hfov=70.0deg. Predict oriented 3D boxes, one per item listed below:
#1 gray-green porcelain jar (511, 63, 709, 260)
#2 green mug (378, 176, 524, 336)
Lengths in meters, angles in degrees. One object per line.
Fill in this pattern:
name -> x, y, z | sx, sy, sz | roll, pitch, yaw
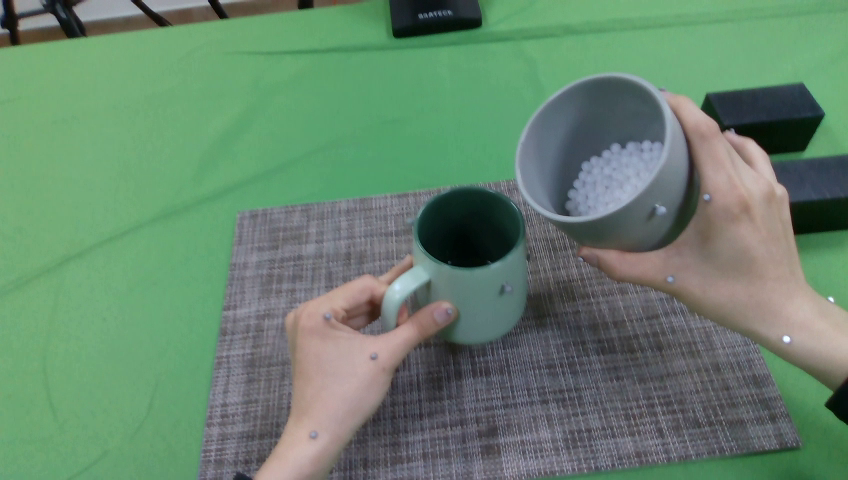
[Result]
gray-green porcelain jar -> 0.137, -0.047, 0.431 | 0.105, 0.128, 0.105 | -15, 64, 33
green mug -> 0.019, 0.024, 0.458 | 0.125, 0.106, 0.091 | -34, 59, -20
